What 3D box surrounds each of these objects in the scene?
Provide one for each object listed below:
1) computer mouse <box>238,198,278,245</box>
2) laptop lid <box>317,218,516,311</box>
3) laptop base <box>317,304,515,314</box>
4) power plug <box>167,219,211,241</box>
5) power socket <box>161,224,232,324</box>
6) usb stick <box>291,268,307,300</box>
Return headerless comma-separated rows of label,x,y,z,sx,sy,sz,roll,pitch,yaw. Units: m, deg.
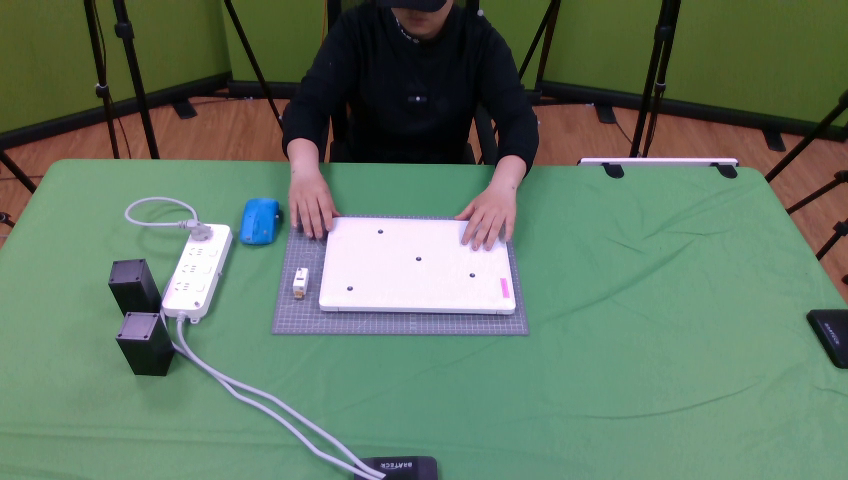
computer mouse,-0.328,-0.040,1.200,0.063,0.041,0.116,4,50,-4
laptop lid,-0.013,0.040,1.143,0.357,0.013,0.240,3,43,-2
laptop base,-0.014,0.049,1.150,0.354,0.023,0.234,1,42,-3
power plug,-0.438,-0.017,1.143,0.072,0.053,0.035,9,42,7
power socket,-0.411,0.052,1.107,0.072,0.033,0.225,4,45,-1
usb stick,-0.226,0.081,1.093,0.021,0.027,0.059,5,48,-3
